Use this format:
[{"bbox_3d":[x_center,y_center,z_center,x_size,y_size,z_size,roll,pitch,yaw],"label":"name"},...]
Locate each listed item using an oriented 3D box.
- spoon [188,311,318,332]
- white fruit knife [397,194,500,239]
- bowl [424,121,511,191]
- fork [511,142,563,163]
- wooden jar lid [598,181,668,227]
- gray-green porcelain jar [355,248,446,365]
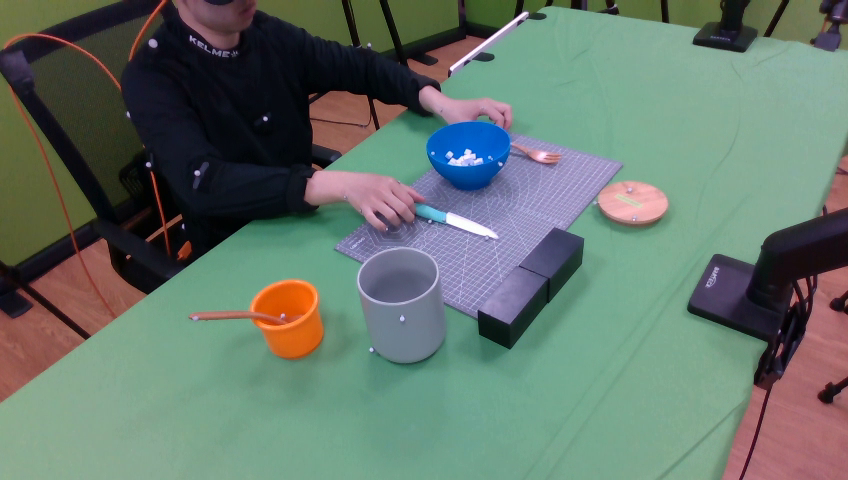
[{"bbox_3d":[-0.216,0.102,0.784,0.041,0.195,0.021,27,96,39],"label":"spoon"},{"bbox_3d":[0.036,-0.037,1.006,0.206,0.016,0.027,21,63,28],"label":"white fruit knife"},{"bbox_3d":[0.081,-0.140,1.074,0.151,0.077,0.150,-4,40,4],"label":"bowl"},{"bbox_3d":[0.166,-0.176,1.149,0.206,0.019,0.028,24,46,28],"label":"fork"},{"bbox_3d":[0.340,-0.058,0.988,0.108,0.021,0.108,-5,41,5],"label":"wooden jar lid"},{"bbox_3d":[-0.027,0.091,0.786,0.106,0.127,0.105,-4,40,4],"label":"gray-green porcelain jar"}]
